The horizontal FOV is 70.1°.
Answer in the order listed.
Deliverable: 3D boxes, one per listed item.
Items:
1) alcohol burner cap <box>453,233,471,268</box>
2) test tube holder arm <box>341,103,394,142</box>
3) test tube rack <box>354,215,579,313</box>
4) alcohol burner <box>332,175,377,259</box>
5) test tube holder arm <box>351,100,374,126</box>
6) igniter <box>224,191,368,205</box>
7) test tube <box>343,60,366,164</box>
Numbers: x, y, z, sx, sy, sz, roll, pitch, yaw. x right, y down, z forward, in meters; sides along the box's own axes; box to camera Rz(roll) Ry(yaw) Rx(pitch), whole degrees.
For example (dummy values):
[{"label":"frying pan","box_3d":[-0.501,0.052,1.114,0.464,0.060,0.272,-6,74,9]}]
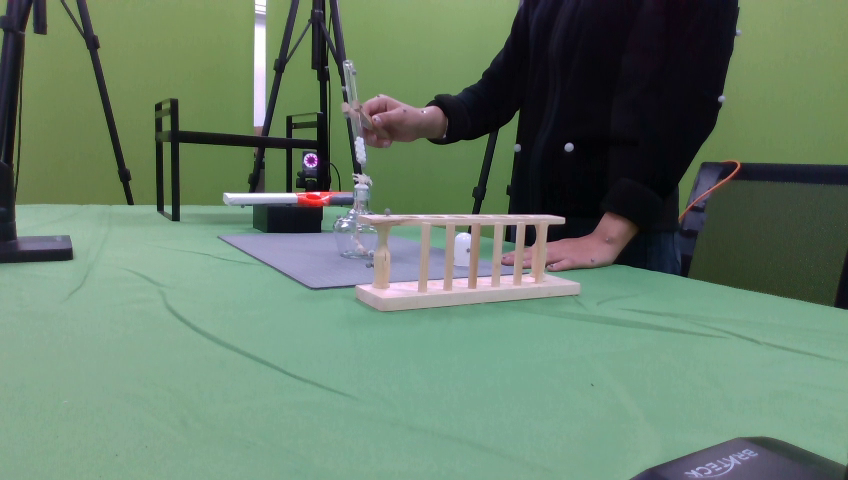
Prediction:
[{"label":"alcohol burner cap","box_3d":[0.053,0.014,0.823,0.034,0.048,0.034,3,6,0]},{"label":"test tube holder arm","box_3d":[-0.082,-0.176,0.918,0.013,0.015,0.179,-11,-8,16]},{"label":"test tube rack","box_3d":[0.053,0.019,0.635,0.243,0.085,0.066,-1,8,-29]},{"label":"alcohol burner","box_3d":[-0.090,-0.033,0.855,0.078,0.119,0.078,4,7,0]},{"label":"test tube holder arm","box_3d":[-0.088,-0.182,0.874,0.010,0.015,0.088,-11,-8,8]},{"label":"igniter","box_3d":[-0.237,-0.079,1.157,0.278,0.025,0.057,-2,21,-31]},{"label":"test tube","box_3d":[-0.098,-0.180,0.853,0.017,0.150,0.017,-8,-6,-1]}]
